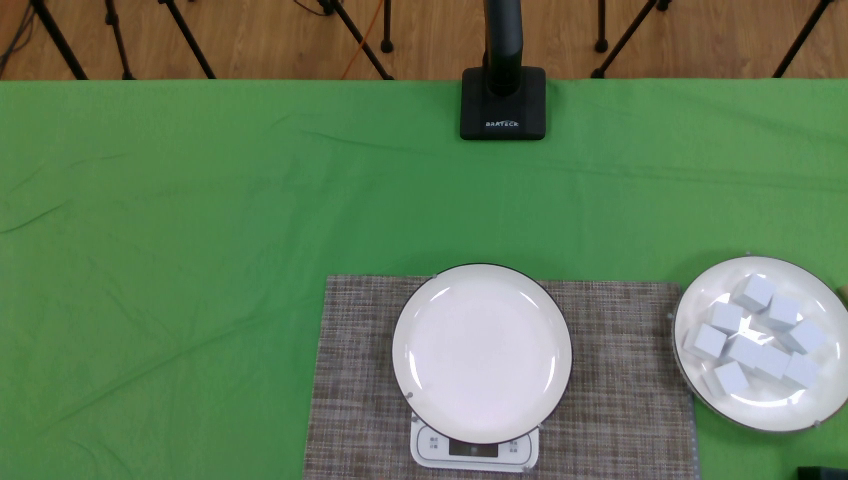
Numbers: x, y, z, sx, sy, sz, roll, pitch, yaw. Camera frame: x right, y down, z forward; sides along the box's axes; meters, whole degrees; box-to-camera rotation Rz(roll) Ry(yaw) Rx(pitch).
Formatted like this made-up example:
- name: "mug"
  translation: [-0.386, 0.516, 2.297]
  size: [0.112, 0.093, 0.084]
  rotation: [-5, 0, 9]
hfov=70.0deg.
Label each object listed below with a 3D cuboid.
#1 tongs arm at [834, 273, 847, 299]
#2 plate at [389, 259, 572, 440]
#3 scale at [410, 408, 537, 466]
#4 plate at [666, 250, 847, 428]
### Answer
- name: "tongs arm"
  translation: [0.595, 0.199, 0.672]
  size: [0.028, 0.028, 0.384]
  rotation: [-27, 70, -7]
- name: "plate"
  translation: [0.064, 0.124, 0.703]
  size: [0.209, 0.038, 0.207]
  rotation: [-1, 70, 4]
- name: "scale"
  translation: [0.060, 0.163, 0.725]
  size: [0.148, 0.032, 0.199]
  rotation: [1, 71, 5]
- name: "plate"
  translation: [0.390, 0.115, 0.714]
  size: [0.207, 0.039, 0.206]
  rotation: [-2, 70, 4]
